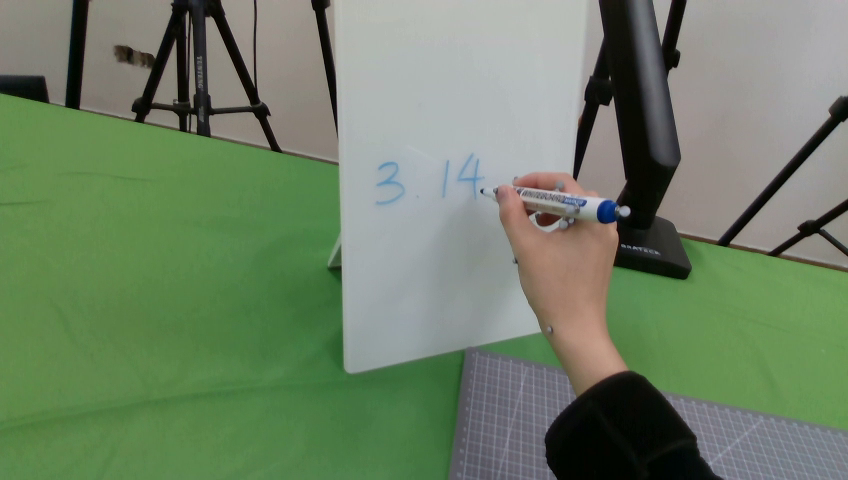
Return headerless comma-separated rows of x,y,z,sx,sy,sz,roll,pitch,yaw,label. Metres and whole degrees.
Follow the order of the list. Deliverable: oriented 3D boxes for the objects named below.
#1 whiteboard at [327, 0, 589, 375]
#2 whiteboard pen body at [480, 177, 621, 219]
0.007,-0.069,0.542,0.218,0.307,0.142,-8,19,-25,whiteboard
0.080,-0.032,0.424,0.017,0.017,0.139,-10,15,-28,whiteboard pen body
